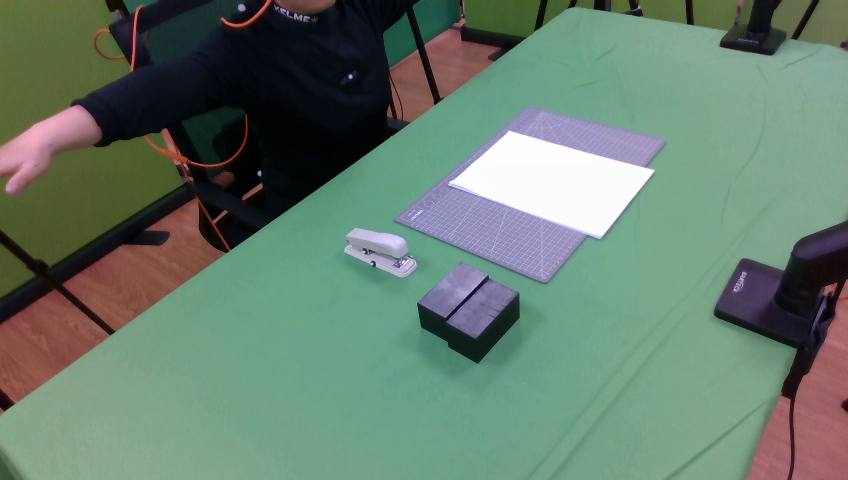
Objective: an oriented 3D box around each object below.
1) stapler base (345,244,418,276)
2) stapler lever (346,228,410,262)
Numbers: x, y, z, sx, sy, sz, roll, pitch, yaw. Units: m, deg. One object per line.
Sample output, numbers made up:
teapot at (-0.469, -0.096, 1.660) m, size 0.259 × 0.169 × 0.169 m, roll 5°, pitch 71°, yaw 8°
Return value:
stapler base at (-0.070, 0.020, 0.964) m, size 0.129 × 0.024 × 0.041 m, roll 19°, pitch 45°, yaw 31°
stapler lever at (-0.074, 0.001, 0.949) m, size 0.117 × 0.040 × 0.027 m, roll 20°, pitch 46°, yaw 30°
